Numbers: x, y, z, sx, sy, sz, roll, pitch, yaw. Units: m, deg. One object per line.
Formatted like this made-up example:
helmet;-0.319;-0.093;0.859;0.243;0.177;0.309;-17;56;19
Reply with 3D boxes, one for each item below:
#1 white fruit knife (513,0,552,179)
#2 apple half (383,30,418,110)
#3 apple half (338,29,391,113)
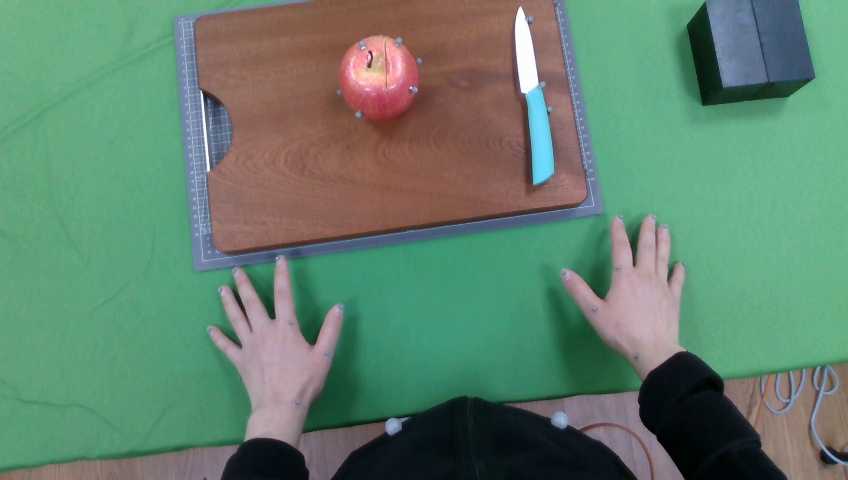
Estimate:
white fruit knife;0.115;-0.166;0.651;0.027;0.016;0.206;-3;80;-14
apple half;-0.022;-0.173;0.622;0.033;0.081;0.081;-3;81;3
apple half;-0.061;-0.171;0.623;0.053;0.075;0.080;-3;85;4
